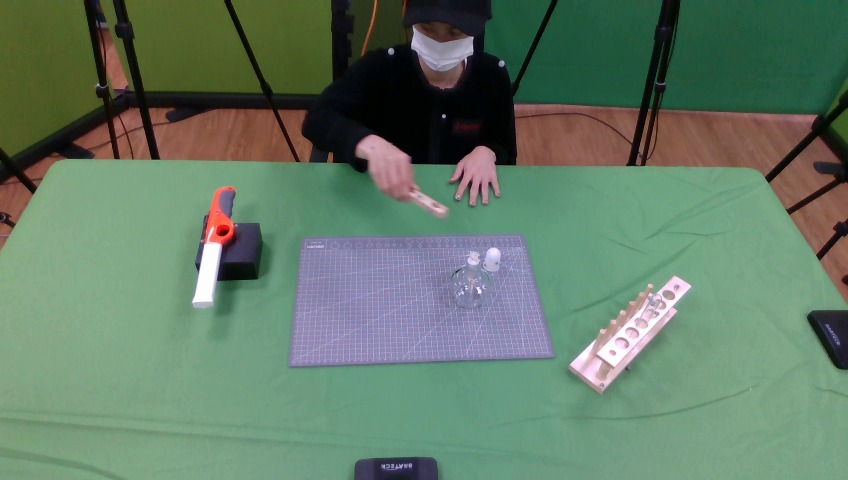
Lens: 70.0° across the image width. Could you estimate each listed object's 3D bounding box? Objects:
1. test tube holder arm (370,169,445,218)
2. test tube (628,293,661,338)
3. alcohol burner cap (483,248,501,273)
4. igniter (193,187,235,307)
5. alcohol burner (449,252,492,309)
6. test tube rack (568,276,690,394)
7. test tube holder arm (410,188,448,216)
[{"bbox_3d":[-0.032,-0.082,1.045,0.177,0.015,0.013,31,51,31],"label":"test tube holder arm"},{"bbox_3d":[0.355,0.133,0.984,0.017,0.151,0.017,1,52,-1],"label":"test tube"},{"bbox_3d":[0.130,0.037,1.156,0.034,0.048,0.033,1,46,-1],"label":"alcohol burner cap"},{"bbox_3d":[-0.379,0.003,1.096,0.057,0.025,0.274,-1,49,-6],"label":"igniter"},{"bbox_3d":[0.083,0.066,1.073,0.078,0.120,0.077,1,44,-1],"label":"alcohol burner"},{"bbox_3d":[0.353,0.149,1.039,0.242,0.085,0.066,-34,56,-31],"label":"test tube rack"},{"bbox_3d":[0.005,-0.065,1.025,0.087,0.015,0.010,31,51,31],"label":"test tube holder arm"}]
